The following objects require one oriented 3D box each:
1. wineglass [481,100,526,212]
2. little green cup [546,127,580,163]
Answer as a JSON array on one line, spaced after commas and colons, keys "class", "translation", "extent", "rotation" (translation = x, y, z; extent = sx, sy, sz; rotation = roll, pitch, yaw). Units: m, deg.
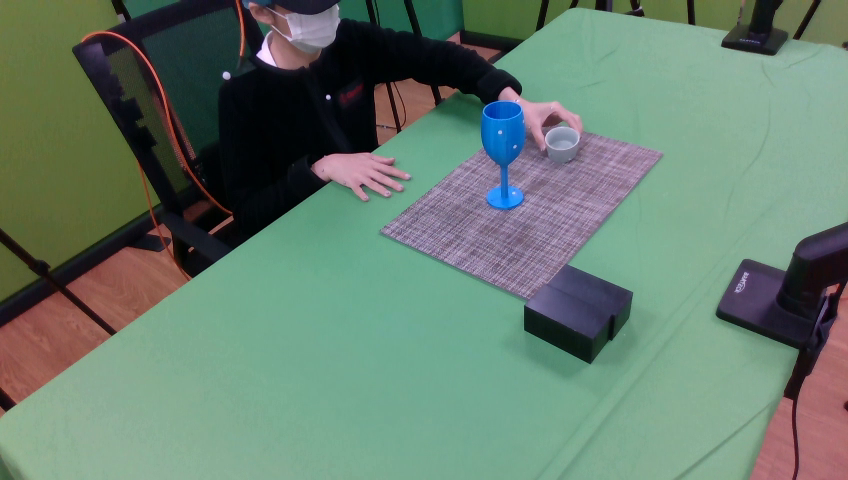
[{"class": "wineglass", "translation": [0.132, -0.137, 0.993], "extent": [0.074, 0.173, 0.073], "rotation": [-5, 40, 4]}, {"class": "little green cup", "translation": [0.256, -0.174, 1.115], "extent": [0.061, 0.039, 0.061], "rotation": [-5, 51, 7]}]
